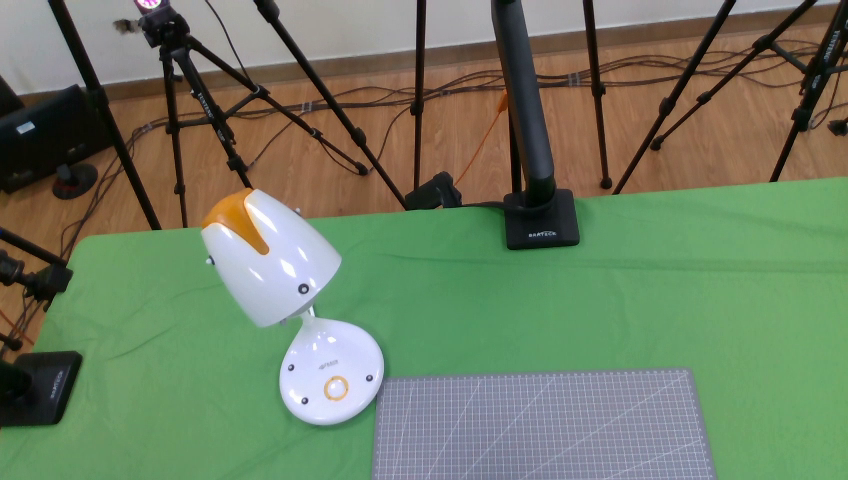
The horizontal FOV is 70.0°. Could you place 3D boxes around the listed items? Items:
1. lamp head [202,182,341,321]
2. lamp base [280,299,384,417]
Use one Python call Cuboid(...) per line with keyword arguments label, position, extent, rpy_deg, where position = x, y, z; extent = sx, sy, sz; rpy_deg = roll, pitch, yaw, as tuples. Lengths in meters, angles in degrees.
Cuboid(label="lamp head", position=(-0.162, 0.002, 0.612), extent=(0.112, 0.123, 0.111), rpy_deg=(-35, 15, 11))
Cuboid(label="lamp base", position=(-0.158, 0.138, 0.862), extent=(0.160, 0.182, 0.177), rpy_deg=(-28, 53, -10))
